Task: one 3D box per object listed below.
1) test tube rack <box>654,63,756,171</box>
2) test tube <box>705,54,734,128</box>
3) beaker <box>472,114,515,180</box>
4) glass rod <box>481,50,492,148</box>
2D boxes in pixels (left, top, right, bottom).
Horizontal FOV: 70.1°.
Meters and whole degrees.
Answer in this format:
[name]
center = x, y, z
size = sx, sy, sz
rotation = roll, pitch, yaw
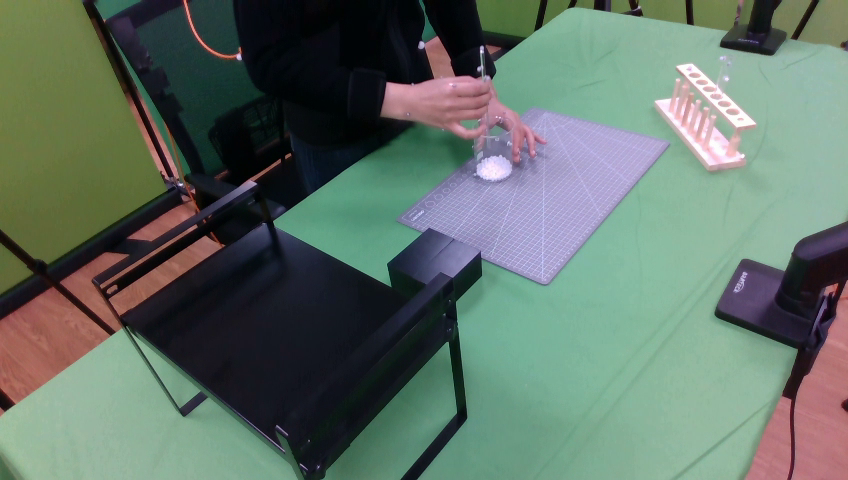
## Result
[test tube rack]
center = 0.510, -0.233, 1.120
size = 0.067, 0.085, 0.241
rotation = -8, 41, -1
[test tube]
center = 0.524, -0.260, 1.073
size = 0.017, 0.151, 0.017
rotation = -4, 46, 5
[beaker]
center = 0.127, -0.165, 1.084
size = 0.073, 0.101, 0.084
rotation = 16, 45, 24
[glass rod]
center = 0.104, -0.229, 1.010
size = 0.008, 0.201, 0.008
rotation = -5, 50, 6
